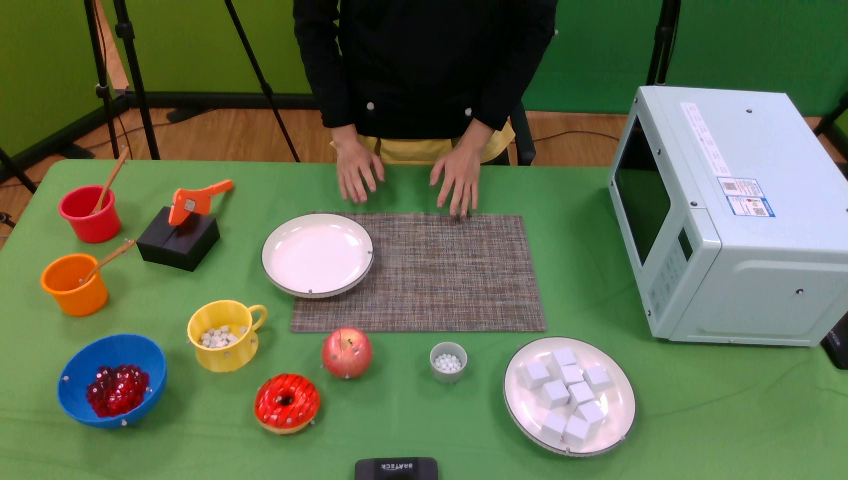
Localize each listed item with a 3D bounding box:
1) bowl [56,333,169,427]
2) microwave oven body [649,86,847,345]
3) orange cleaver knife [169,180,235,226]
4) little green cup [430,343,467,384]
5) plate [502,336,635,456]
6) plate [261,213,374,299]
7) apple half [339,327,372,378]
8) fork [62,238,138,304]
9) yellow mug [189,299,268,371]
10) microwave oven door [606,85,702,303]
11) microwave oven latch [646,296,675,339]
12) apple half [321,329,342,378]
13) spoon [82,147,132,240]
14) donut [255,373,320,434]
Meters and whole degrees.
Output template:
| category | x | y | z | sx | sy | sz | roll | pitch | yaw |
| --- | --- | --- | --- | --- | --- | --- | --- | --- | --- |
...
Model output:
| category | x | y | z | sx | sy | sz | roll | pitch | yaw |
| --- | --- | --- | --- | --- | --- | --- | --- | --- | --- |
| bowl | -0.456 | 0.223 | 0.911 | 0.151 | 0.077 | 0.150 | 3 | 46 | -2 |
| microwave oven body | 0.568 | -0.053 | 1.118 | 0.326 | 0.261 | 0.439 | 2 | 45 | -1 |
| orange cleaver knife | -0.436 | -0.076 | 1.199 | 0.012 | 0.077 | 0.211 | 17 | 17 | 9 |
| little green cup | 0.039 | 0.203 | 0.994 | 0.061 | 0.039 | 0.061 | 2 | 46 | -2 |
| plate | 0.225 | 0.248 | 0.963 | 0.208 | 0.039 | 0.206 | 2 | 46 | -2 |
| plate | -0.198 | 0.032 | 1.137 | 0.209 | 0.038 | 0.208 | 2 | 46 | -2 |
| apple half | -0.111 | 0.183 | 0.980 | 0.053 | 0.075 | 0.080 | -2 | 42 | -12 |
| fork | -0.547 | 0.053 | 1.018 | 0.207 | 0.019 | 0.028 | -36 | 41 | 23 |
| yellow mug | -0.316 | 0.148 | 1.002 | 0.131 | 0.064 | 0.099 | -33 | 56 | -31 |
| microwave oven door | 0.423 | -0.094 | 1.140 | 0.039 | 0.245 | 0.353 | 2 | 46 | -1 |
| microwave oven latch | 0.412 | 0.134 | 1.061 | 0.030 | 0.029 | 0.078 | 4 | 45 | 1 |
| apple half | -0.149 | 0.185 | 0.972 | 0.033 | 0.081 | 0.080 | -2 | 46 | -12 |
| spoon | -0.602 | -0.089 | 1.156 | 0.041 | 0.022 | 0.193 | 27 | 95 | 19 |
| donut | -0.209 | 0.249 | 0.928 | 0.099 | 0.048 | 0.098 | 3 | 43 | -3 |
